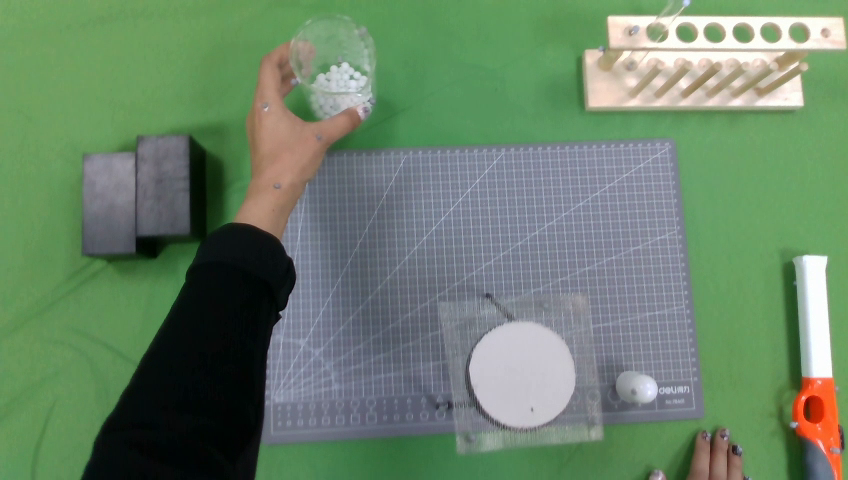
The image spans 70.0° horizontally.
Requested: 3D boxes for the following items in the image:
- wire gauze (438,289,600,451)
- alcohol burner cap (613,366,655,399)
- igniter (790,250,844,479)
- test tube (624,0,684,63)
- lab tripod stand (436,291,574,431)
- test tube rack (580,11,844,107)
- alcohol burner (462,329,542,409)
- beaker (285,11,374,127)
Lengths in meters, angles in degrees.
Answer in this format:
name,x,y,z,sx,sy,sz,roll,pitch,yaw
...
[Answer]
name,x,y,z,sx,sy,sz,roll,pitch,yaw
wire gauze,0.078,0.103,0.491,0.125,0.011,0.121,-4,81,-5
alcohol burner cap,0.213,0.145,0.608,0.034,0.048,0.034,0,82,-2
igniter,0.405,0.148,0.629,0.057,0.025,0.275,3,82,-13
test tube,0.227,-0.213,0.587,0.017,0.150,0.017,1,78,-3
lab tripod stand,0.073,0.115,0.558,0.148,0.132,0.148,0,81,-2
test tube rack,0.297,-0.188,0.637,0.242,0.085,0.066,-1,82,-3
alcohol burner,0.076,0.121,0.567,0.078,0.119,0.077,1,80,-4
beaker,-0.081,-0.152,0.567,0.074,0.100,0.084,-42,86,-8
